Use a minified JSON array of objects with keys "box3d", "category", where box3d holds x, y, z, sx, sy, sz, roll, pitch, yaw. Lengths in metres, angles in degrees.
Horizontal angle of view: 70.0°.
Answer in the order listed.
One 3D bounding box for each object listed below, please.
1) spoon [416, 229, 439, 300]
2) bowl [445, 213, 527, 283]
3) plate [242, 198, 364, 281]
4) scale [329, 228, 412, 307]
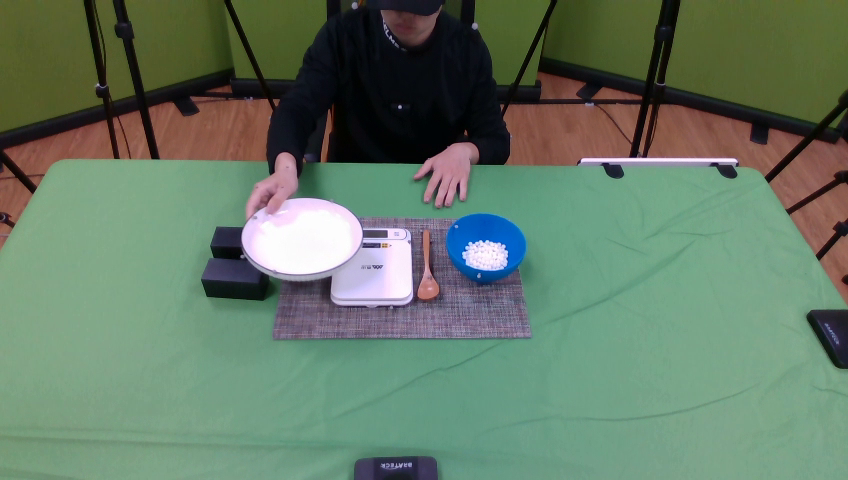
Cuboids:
[{"box3d":[0.005,0.043,1.152,0.041,0.022,0.192,-9,46,8],"category":"spoon"},{"box3d":[0.112,0.027,1.136,0.151,0.077,0.150,2,46,-2],"category":"bowl"},{"box3d":[-0.209,0.001,1.061,0.209,0.038,0.208,4,41,-3],"category":"plate"},{"box3d":[-0.099,0.042,1.140,0.149,0.032,0.199,1,46,-4],"category":"scale"}]
